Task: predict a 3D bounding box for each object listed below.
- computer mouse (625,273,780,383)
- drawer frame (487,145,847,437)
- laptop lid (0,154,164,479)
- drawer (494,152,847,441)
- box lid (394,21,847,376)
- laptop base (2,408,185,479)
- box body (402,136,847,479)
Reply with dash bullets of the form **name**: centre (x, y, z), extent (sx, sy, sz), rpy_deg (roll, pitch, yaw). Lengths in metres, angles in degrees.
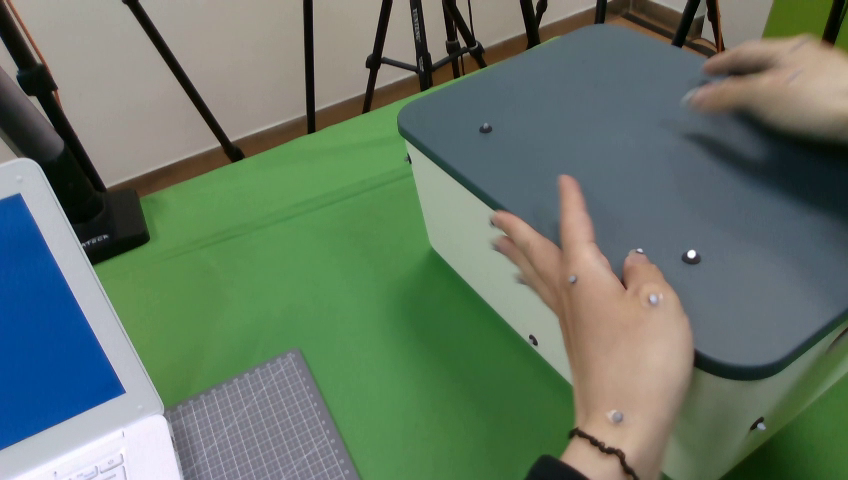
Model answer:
- **computer mouse**: centre (0.228, 0.069, 0.500), extent (0.117, 0.041, 0.062), rpy_deg (-23, 48, -4)
- **drawer frame**: centre (0.194, 0.025, 0.502), extent (0.202, 0.083, 0.211), rpy_deg (-24, 40, -18)
- **laptop lid**: centre (-0.410, 0.106, 0.436), extent (0.357, 0.243, 0.013), rpy_deg (-26, 15, -16)
- **drawer**: centre (0.195, 0.030, 0.509), extent (0.194, 0.074, 0.209), rpy_deg (-26, 45, -15)
- **box lid**: centre (0.169, -0.073, 0.460), extent (0.263, 0.015, 0.367), rpy_deg (-28, 45, -19)
- **laptop base**: centre (-0.316, 0.277, 0.386), extent (0.355, 0.023, 0.233), rpy_deg (-25, 48, -16)
- **box body**: centre (0.177, -0.020, 0.511), extent (0.254, 0.162, 0.360), rpy_deg (-28, 45, -19)
